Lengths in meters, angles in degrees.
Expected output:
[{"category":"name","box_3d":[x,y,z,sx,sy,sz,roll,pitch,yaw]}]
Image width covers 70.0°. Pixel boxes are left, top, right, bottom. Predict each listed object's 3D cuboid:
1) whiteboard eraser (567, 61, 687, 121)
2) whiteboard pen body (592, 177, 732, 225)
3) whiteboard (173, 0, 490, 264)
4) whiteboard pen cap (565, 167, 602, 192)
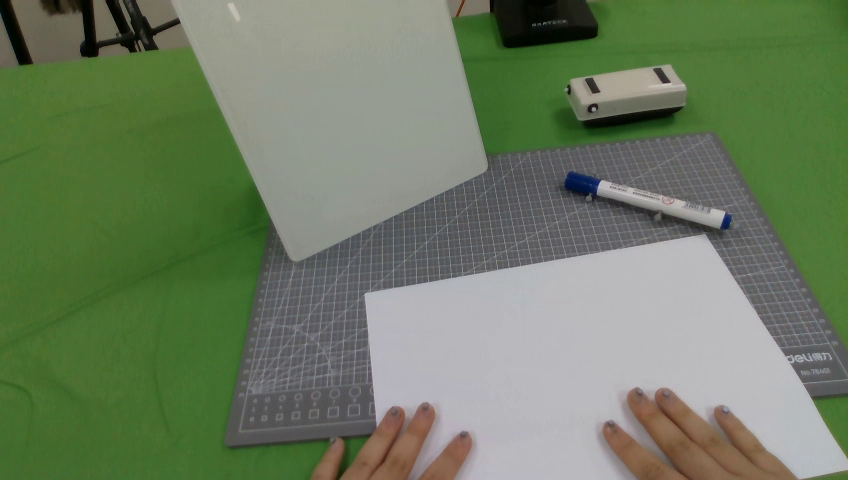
[{"category":"whiteboard eraser","box_3d":[0.213,-0.156,0.641,0.113,0.042,0.055,-7,49,-1]},{"category":"whiteboard pen body","box_3d":[0.199,-0.038,0.542,0.140,0.017,0.017,19,52,25]},{"category":"whiteboard","box_3d":[-0.096,-0.175,0.558,0.217,0.308,0.142,-27,29,-16]},{"category":"whiteboard pen cap","box_3d":[0.150,-0.056,0.567,0.033,0.018,0.018,21,53,22]}]
